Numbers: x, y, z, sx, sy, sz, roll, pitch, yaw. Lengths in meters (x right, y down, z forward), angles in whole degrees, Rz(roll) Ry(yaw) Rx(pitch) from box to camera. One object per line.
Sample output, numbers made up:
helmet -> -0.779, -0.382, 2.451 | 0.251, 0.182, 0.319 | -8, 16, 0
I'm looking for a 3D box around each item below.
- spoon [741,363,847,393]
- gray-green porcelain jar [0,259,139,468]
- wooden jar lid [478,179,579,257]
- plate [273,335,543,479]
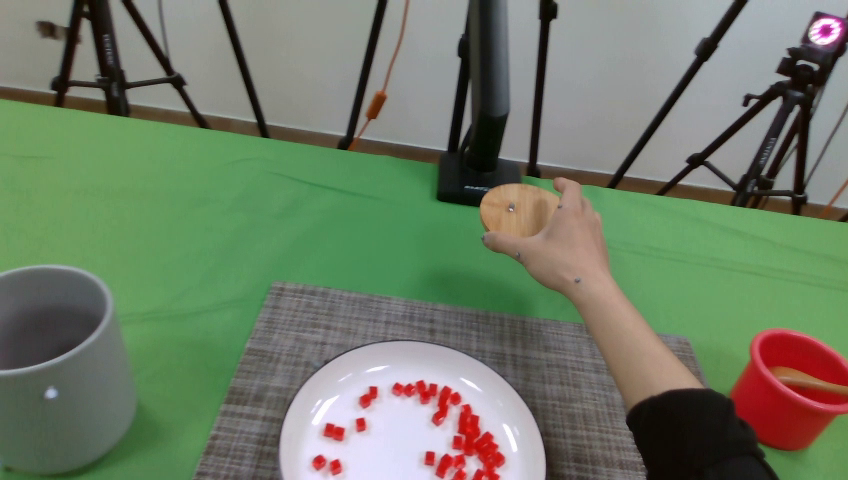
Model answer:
spoon -> 0.369, 0.125, 0.528 | 0.042, 0.021, 0.193 | -9, 2, -30
gray-green porcelain jar -> -0.272, 0.094, 0.443 | 0.106, 0.127, 0.105 | 7, 38, -5
wooden jar lid -> 0.108, -0.022, 0.632 | 0.108, 0.021, 0.107 | 8, 47, -8
plate -> -0.012, 0.164, 0.481 | 0.208, 0.039, 0.205 | 7, 38, -5
